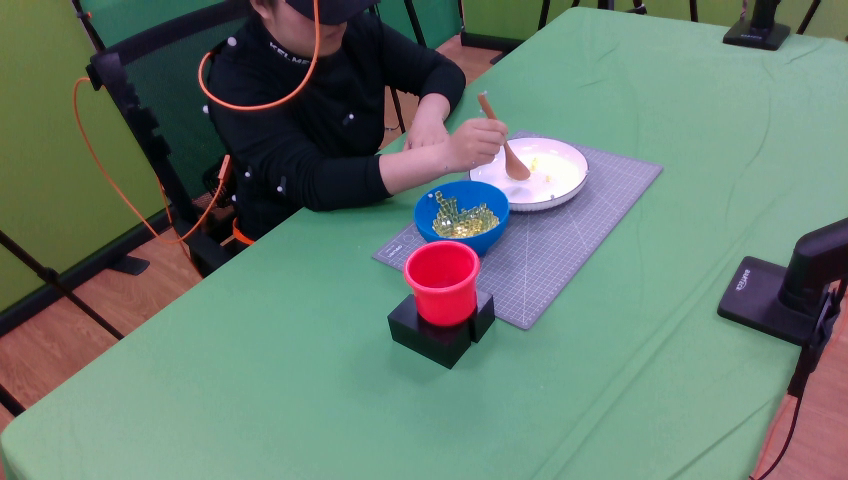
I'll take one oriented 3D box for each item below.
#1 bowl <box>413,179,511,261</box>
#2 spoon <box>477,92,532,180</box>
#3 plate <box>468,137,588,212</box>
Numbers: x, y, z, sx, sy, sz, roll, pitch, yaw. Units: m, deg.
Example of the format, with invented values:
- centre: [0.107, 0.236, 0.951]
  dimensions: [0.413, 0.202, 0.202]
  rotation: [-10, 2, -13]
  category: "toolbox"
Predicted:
- centre: [0.062, -0.021, 0.947]
  dimensions: [0.151, 0.077, 0.150]
  rotation: [-5, 40, 5]
  category: "bowl"
- centre: [0.129, -0.166, 0.992]
  dimensions: [0.041, 0.195, 0.021]
  rotation: [-7, 43, 33]
  category: "spoon"
- centre: [0.182, -0.112, 1.064]
  dimensions: [0.207, 0.039, 0.206]
  rotation: [-5, 40, 5]
  category: "plate"
